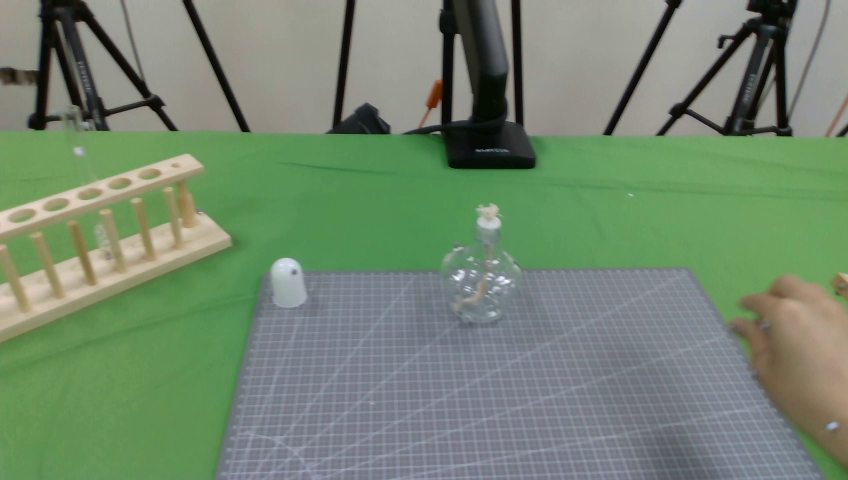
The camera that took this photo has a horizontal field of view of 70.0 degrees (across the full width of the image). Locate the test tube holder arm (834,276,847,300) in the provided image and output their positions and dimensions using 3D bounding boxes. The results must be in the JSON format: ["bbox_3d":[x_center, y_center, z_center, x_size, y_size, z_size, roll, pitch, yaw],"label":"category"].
[{"bbox_3d":[0.387,0.064,0.521,0.010,0.015,0.087,3,36,-12],"label":"test tube holder arm"}]

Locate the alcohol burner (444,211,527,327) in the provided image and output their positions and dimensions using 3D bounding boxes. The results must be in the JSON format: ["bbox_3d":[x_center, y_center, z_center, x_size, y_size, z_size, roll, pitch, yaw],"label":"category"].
[{"bbox_3d":[0.058,0.022,0.556,0.078,0.120,0.077,3,38,-2],"label":"alcohol burner"}]

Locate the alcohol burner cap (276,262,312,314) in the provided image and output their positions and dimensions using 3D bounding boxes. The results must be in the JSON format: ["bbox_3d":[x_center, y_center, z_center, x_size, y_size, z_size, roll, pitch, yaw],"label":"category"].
[{"bbox_3d":[-0.125,0.043,0.577,0.034,0.048,0.033,2,37,-1],"label":"alcohol burner cap"}]

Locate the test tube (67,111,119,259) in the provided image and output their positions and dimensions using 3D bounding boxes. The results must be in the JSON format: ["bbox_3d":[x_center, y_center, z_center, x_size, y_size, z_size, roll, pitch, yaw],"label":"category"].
[{"bbox_3d":[-0.309,-0.047,0.572,0.017,0.151,0.017,1,30,0],"label":"test tube"}]

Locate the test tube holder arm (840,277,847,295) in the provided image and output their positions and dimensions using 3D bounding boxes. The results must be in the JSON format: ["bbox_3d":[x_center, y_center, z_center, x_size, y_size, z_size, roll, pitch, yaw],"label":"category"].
[{"bbox_3d":[0.399,0.091,0.487,0.013,0.015,0.176,2,36,-12],"label":"test tube holder arm"}]

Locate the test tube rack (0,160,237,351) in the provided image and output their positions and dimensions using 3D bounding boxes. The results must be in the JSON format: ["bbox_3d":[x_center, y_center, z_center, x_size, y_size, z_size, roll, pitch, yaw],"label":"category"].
[{"bbox_3d":[-0.311,0.008,0.581,0.242,0.086,0.066,-27,45,-34],"label":"test tube rack"}]
